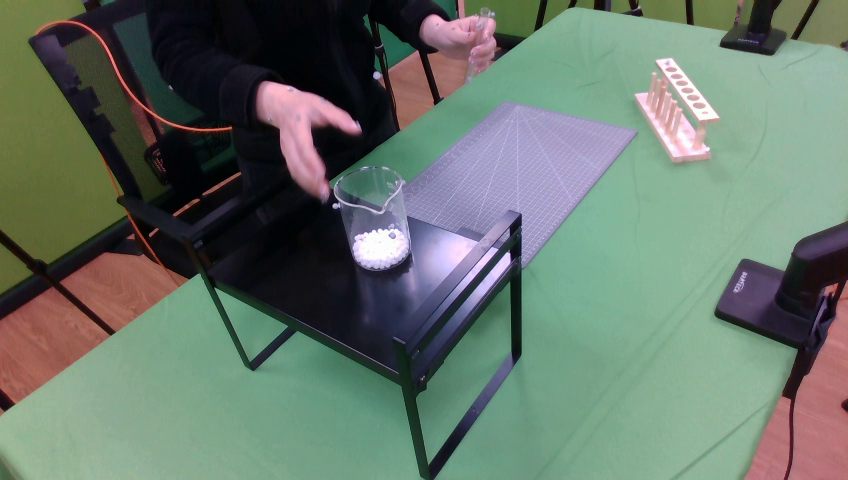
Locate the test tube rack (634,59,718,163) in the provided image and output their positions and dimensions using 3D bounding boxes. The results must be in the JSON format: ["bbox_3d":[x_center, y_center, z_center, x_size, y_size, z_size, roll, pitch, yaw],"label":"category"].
[{"bbox_3d":[0.470,-0.250,1.148,0.067,0.085,0.241,-6,40,3],"label":"test tube rack"}]

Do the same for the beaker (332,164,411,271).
[{"bbox_3d":[-0.053,-0.020,0.670,0.074,0.101,0.083,-19,42,-12],"label":"beaker"}]

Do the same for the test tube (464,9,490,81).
[{"bbox_3d":[0.083,-0.307,0.966,0.017,0.150,0.017,3,63,-6],"label":"test tube"}]
